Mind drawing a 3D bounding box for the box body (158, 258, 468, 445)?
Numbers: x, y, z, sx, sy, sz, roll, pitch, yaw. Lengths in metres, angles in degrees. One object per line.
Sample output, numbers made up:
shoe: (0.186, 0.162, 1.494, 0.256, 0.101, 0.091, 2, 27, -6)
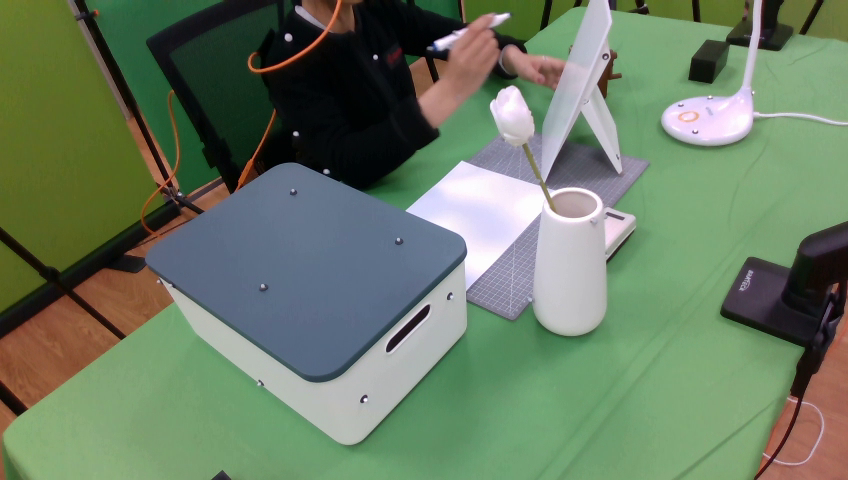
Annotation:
box body: (-0.147, 0.072, 0.816, 0.361, 0.161, 0.255, 24, 50, 33)

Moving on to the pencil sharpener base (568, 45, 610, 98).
pencil sharpener base: (0.345, -0.352, 1.263, 0.077, 0.107, 0.061, -8, 40, 1)

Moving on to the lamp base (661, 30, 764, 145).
lamp base: (0.535, -0.287, 1.095, 0.179, 0.181, 0.159, -10, 40, -4)

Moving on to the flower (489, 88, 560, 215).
flower: (0.158, -0.027, 0.720, 0.038, 0.364, 0.044, -14, 44, 23)

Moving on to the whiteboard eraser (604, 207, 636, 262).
whiteboard eraser: (0.272, -0.003, 0.919, 0.055, 0.042, 0.113, 27, 51, 32)

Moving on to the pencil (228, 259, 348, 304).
pencil: (-0.211, 0.066, 0.943, 0.194, 0.012, 0.012, -19, 41, -9)

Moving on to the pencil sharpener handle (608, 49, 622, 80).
pencil sharpener handle: (0.394, -0.368, 1.253, 0.030, 0.068, 0.036, -8, 32, 1)

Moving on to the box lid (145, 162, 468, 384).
box lid: (-0.157, 0.014, 0.769, 0.368, 0.015, 0.264, 25, 51, 33)

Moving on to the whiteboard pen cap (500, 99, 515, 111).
whiteboard pen cap: (0.178, -0.287, 1.289, 0.033, 0.018, 0.018, -38, 48, -27)

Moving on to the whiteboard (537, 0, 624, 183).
whiteboard: (0.316, -0.256, 1.047, 0.144, 0.306, 0.216, 15, 42, -1)

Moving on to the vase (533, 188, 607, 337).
vase: (0.187, 0.033, 0.771, 0.098, 0.201, 0.097, -6, 41, 6)

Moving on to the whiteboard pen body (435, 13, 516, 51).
whiteboard pen body: (0.084, -0.340, 0.983, 0.141, 0.017, 0.017, -23, 41, 2)
